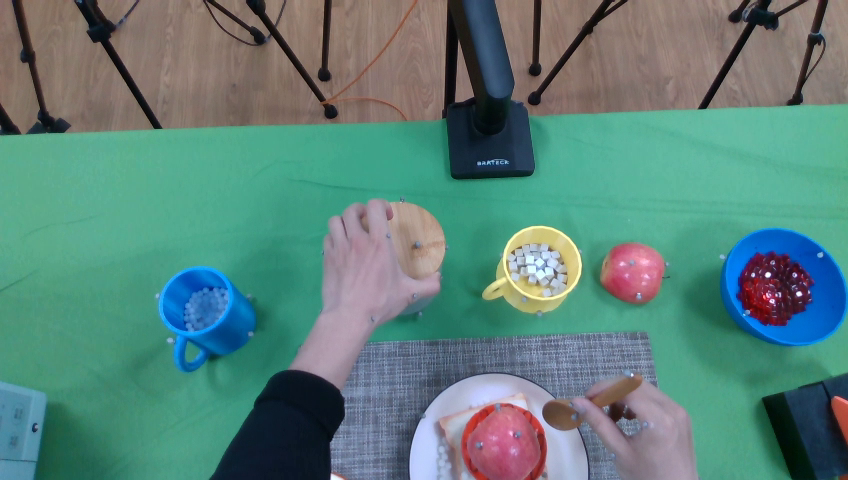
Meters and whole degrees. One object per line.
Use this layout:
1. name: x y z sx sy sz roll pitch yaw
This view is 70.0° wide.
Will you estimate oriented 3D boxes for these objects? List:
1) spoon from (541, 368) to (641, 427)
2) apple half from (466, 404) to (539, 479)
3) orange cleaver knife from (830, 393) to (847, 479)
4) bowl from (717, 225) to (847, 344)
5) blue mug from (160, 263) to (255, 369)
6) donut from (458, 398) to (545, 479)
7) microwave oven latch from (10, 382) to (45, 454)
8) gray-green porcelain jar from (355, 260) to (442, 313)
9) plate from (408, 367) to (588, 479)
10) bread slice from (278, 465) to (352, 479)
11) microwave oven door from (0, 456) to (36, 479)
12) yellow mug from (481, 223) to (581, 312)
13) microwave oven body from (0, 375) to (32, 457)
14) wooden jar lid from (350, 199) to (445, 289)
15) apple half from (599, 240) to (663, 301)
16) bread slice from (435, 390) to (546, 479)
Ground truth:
1. spoon: 0.157 0.153 0.576 0.041 0.194 0.021 35 66 6
2. apple half: 0.087 0.218 0.652 0.081 0.033 0.081 -2 71 6
3. orange cleaver knife: 0.502 0.281 0.687 0.012 0.077 0.211 -12 91 -12
4. bowl: 0.437 0.064 0.770 0.151 0.077 0.150 0 70 -1
5. blue mug: -0.263 0.098 0.725 0.082 0.106 0.116 17 70 5
6. donut: 0.088 0.229 0.686 0.099 0.048 0.098 1 69 -1
7. microwave oven latch: -0.462 0.204 0.696 0.030 0.029 0.078 3 70 -1
8. gray-green porcelain jar: -0.031 0.029 0.747 0.106 0.127 0.105 0 69 -1
9. plate: 0.084 0.255 0.707 0.208 0.039 0.206 1 70 -1
10. bread slice: -0.132 0.324 0.687 0.105 0.019 0.130 5 70 0
11. microwave oven door: -0.452 0.371 0.524 0.039 0.245 0.353 -2 69 -2
12. yellow mug: 0.132 0.043 0.778 0.131 0.064 0.099 -25 71 -10
13. microwave oven body: -0.600 0.339 0.539 0.326 0.261 0.438 -2 70 -2
14. wooden jar lid: -0.030 0.006 0.689 0.108 0.021 0.107 0 68 1
15. apple half: 0.274 0.034 0.791 0.074 0.054 0.080 18 70 8
16. bread slice: 0.087 0.255 0.711 0.107 0.018 0.133 -21 70 -6
